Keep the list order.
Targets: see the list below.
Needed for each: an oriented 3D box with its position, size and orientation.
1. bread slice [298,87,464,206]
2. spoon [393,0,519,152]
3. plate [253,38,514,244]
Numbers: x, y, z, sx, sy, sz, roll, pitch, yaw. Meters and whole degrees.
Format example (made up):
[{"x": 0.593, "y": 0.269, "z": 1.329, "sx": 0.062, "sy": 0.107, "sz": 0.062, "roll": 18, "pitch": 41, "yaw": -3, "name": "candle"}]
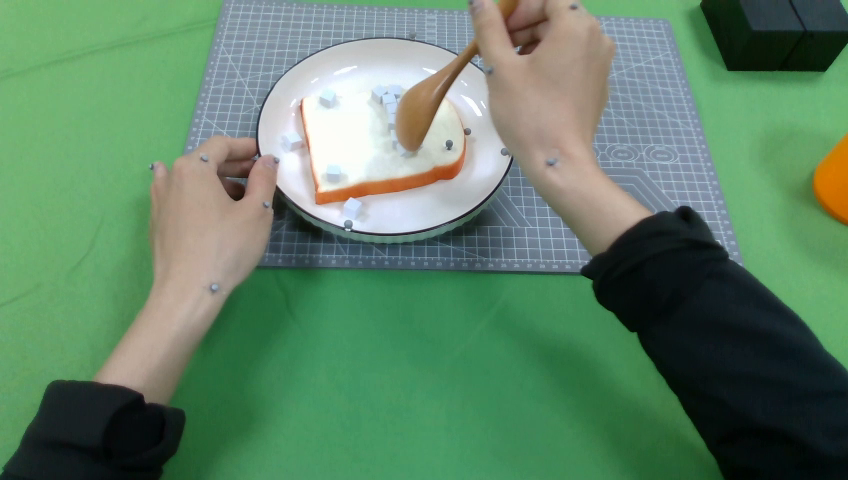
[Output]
[{"x": -0.034, "y": -0.085, "z": 0.502, "sx": 0.132, "sy": 0.019, "sz": 0.104, "roll": -12, "pitch": 61, "yaw": -10, "name": "bread slice"}, {"x": 0.031, "y": -0.132, "z": 0.406, "sx": 0.022, "sy": 0.194, "sz": 0.041, "roll": 5, "pitch": 49, "yaw": -44, "name": "spoon"}, {"x": -0.032, "y": -0.082, "z": 0.497, "sx": 0.209, "sy": 0.038, "sz": 0.207, "roll": 2, "pitch": 59, "yaw": -3, "name": "plate"}]
